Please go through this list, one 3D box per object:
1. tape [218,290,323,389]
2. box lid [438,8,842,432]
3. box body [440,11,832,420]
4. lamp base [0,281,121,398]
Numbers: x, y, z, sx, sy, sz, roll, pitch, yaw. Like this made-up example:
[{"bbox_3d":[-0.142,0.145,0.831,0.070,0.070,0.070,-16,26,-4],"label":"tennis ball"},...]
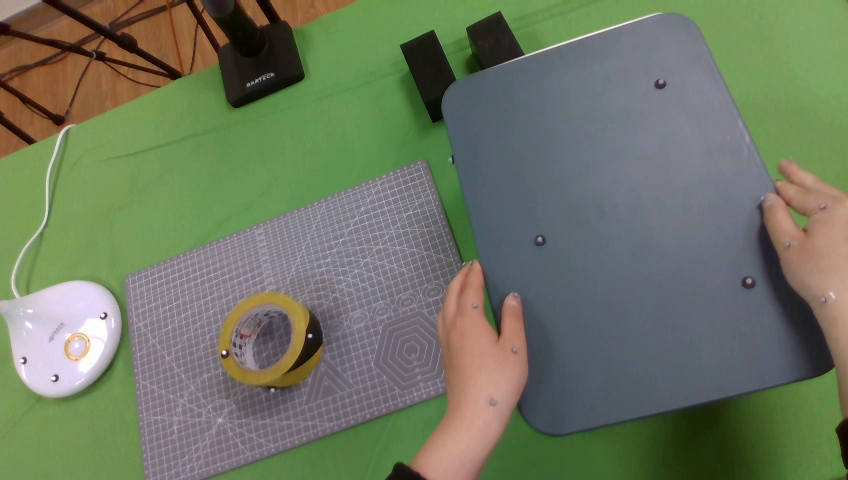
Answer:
[{"bbox_3d":[-0.186,0.120,0.731,0.116,0.053,0.116,-5,69,12],"label":"tape"},{"bbox_3d":[0.170,-0.037,0.550,0.263,0.015,0.368,-16,68,8],"label":"box lid"},{"bbox_3d":[0.188,-0.015,0.627,0.254,0.162,0.361,-17,67,8],"label":"box body"},{"bbox_3d":[-0.512,0.102,0.753,0.178,0.182,0.160,17,75,22],"label":"lamp base"}]
